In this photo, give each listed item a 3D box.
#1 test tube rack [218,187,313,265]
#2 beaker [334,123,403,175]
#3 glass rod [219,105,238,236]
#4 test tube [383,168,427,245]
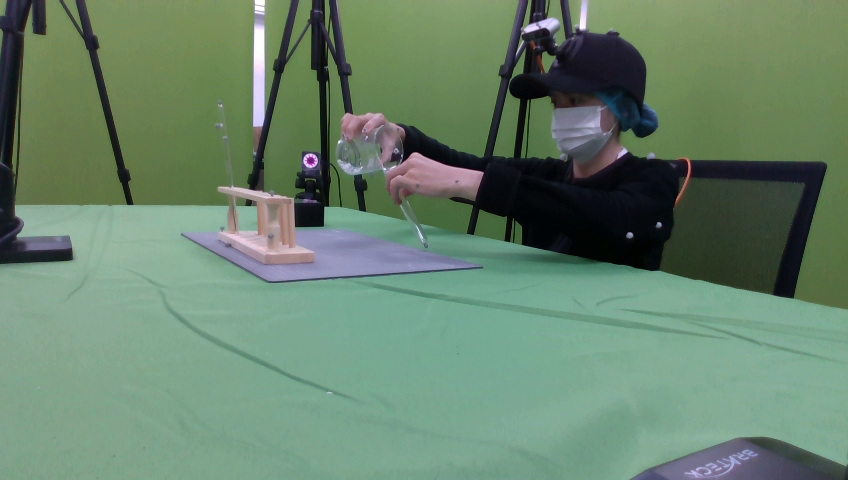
[{"bbox_3d":[-0.235,-0.027,0.872,0.067,0.085,0.241,-2,8,-32],"label":"test tube rack"},{"bbox_3d":[-0.098,-0.150,1.037,0.100,0.084,0.074,-5,-11,38],"label":"beaker"},{"bbox_3d":[-0.294,-0.100,0.908,0.008,0.199,0.008,-3,12,1],"label":"glass rod"},{"bbox_3d":[-0.031,-0.055,0.977,0.017,0.149,0.017,-23,-23,-10],"label":"test tube"}]
